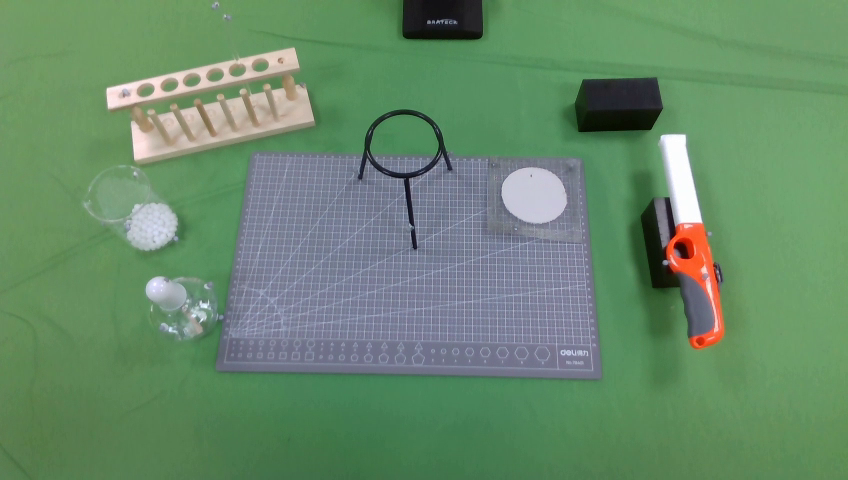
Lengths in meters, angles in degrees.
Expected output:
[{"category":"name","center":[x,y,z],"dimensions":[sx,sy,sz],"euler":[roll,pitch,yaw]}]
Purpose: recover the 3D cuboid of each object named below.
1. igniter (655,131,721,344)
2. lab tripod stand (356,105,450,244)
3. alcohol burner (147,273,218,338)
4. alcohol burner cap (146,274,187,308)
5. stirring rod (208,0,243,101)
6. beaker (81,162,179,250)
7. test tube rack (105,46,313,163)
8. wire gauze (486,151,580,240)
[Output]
[{"category":"igniter","center":[0.308,-0.011,0.713],"dimensions":[0.057,0.025,0.274],"euler":[0,64,3]},{"category":"lab tripod stand","center":[-0.022,-0.086,0.736],"dimensions":[0.148,0.132,0.147],"euler":[1,68,-1]},{"category":"alcohol burner","center":[-0.279,0.068,0.686],"dimensions":[0.078,0.120,0.077],"euler":[1,65,-1]},{"category":"alcohol burner cap","center":[-0.281,0.053,0.653],"dimensions":[0.034,0.048,0.033],"euler":[0,70,-1]},{"category":"stirring rod","center":[-0.244,-0.241,0.746],"dimensions":[0.014,0.177,0.005],"euler":[8,55,3]},{"category":"beaker","center":[-0.352,-0.036,0.738],"dimensions":[0.084,0.101,0.073],"euler":[-12,67,-4]},{"category":"test tube rack","center":[-0.279,-0.179,0.806],"dimensions":[0.242,0.086,0.066],"euler":[-14,67,-6]},{"category":"wire gauze","center":[0.143,-0.062,0.794],"dimensions":[0.125,0.011,0.120],"euler":[6,67,0]}]
